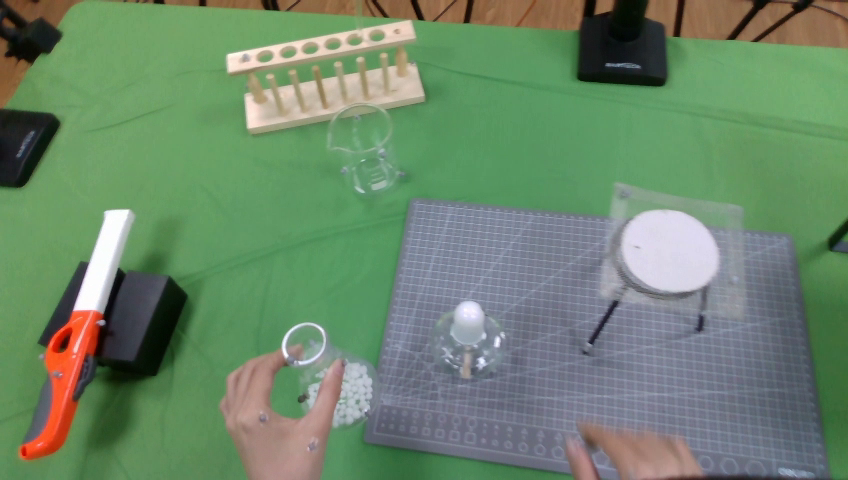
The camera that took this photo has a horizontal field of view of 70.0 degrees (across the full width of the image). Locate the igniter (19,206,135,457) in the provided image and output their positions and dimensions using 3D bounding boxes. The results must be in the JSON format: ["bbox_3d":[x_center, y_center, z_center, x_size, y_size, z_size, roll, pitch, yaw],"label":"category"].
[{"bbox_3d":[-0.357,0.084,0.634,0.057,0.025,0.274,-2,60,8],"label":"igniter"}]

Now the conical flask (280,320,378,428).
[{"bbox_3d":[-0.086,0.110,0.520,0.075,0.123,0.074,-4,57,6],"label":"conical flask"}]

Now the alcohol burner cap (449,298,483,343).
[{"bbox_3d":[0.041,0.073,0.574,0.034,0.048,0.033,1,55,0],"label":"alcohol burner cap"}]

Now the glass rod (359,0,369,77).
[{"bbox_3d":[-0.077,-0.277,0.760,0.008,0.201,0.008,1,60,-1],"label":"glass rod"}]

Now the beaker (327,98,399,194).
[{"bbox_3d":[-0.071,-0.108,0.735,0.084,0.101,0.073,-31,63,-13],"label":"beaker"}]

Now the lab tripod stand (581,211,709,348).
[{"bbox_3d":[0.224,0.042,0.611,0.148,0.132,0.147,-1,60,2],"label":"lab tripod stand"}]

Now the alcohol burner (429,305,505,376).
[{"bbox_3d":[0.043,0.093,0.605,0.078,0.120,0.077,-1,60,1],"label":"alcohol burner"}]

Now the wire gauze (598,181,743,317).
[{"bbox_3d":[0.228,0.006,0.553,0.121,0.011,0.124,12,63,8],"label":"wire gauze"}]

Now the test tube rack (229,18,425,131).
[{"bbox_3d":[-0.125,-0.219,0.808,0.242,0.086,0.066,-11,61,-3],"label":"test tube rack"}]
